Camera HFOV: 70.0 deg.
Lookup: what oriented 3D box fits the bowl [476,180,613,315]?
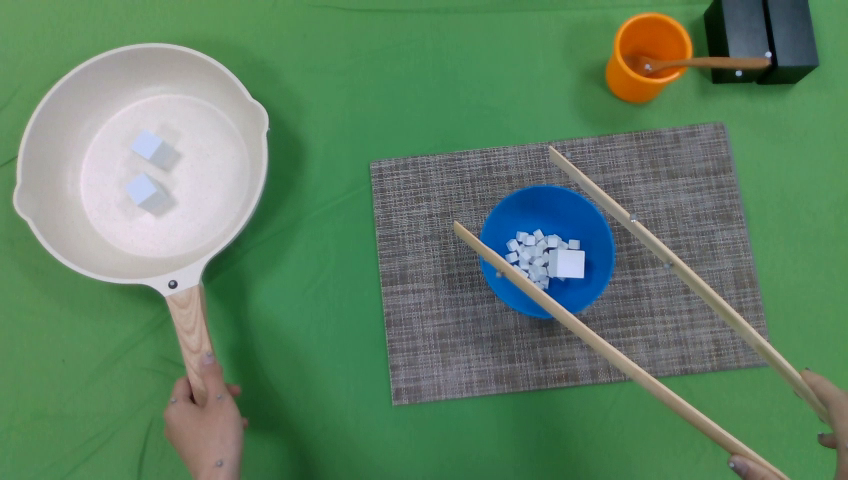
[{"bbox_3d":[0.133,0.014,0.699,0.151,0.077,0.151,0,80,1],"label":"bowl"}]

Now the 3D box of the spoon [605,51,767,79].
[{"bbox_3d":[0.296,-0.207,0.705,0.022,0.192,0.041,38,77,-36],"label":"spoon"}]

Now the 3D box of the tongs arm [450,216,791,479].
[{"bbox_3d":[0.162,0.087,0.509,0.028,0.028,0.384,-42,61,-17],"label":"tongs arm"}]

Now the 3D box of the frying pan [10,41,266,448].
[{"bbox_3d":[-0.293,0.000,0.698,0.307,0.103,0.484,-20,72,-2],"label":"frying pan"}]

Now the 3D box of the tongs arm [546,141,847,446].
[{"bbox_3d":[0.216,0.044,0.520,0.051,0.027,0.381,-35,60,-10],"label":"tongs arm"}]
